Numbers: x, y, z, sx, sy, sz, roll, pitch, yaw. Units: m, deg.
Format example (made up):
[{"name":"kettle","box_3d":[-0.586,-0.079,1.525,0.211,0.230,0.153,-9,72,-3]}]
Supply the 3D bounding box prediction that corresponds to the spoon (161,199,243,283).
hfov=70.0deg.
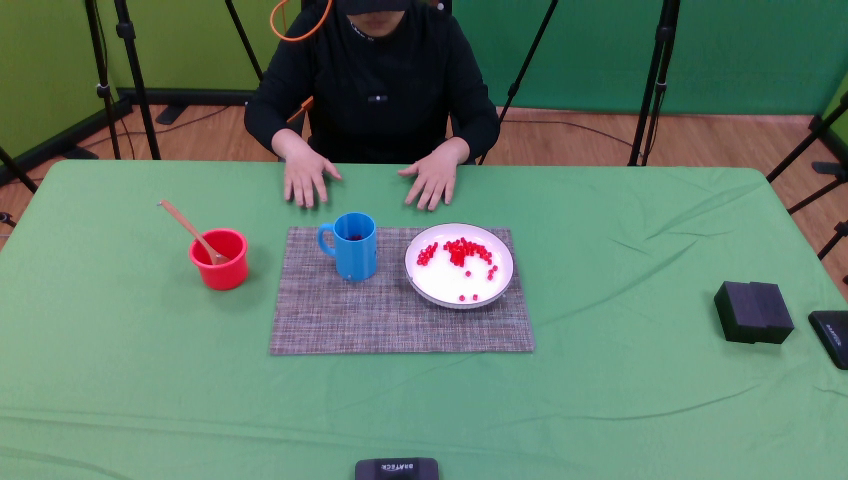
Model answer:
[{"name":"spoon","box_3d":[-0.397,0.001,1.083,0.194,0.021,0.041,53,57,-15]}]

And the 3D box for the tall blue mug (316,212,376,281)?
[{"name":"tall blue mug","box_3d":[-0.142,0.014,1.109,0.107,0.108,0.077,-5,47,-8]}]

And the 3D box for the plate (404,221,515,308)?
[{"name":"plate","box_3d":[0.065,0.049,1.140,0.208,0.039,0.206,2,46,-2]}]
